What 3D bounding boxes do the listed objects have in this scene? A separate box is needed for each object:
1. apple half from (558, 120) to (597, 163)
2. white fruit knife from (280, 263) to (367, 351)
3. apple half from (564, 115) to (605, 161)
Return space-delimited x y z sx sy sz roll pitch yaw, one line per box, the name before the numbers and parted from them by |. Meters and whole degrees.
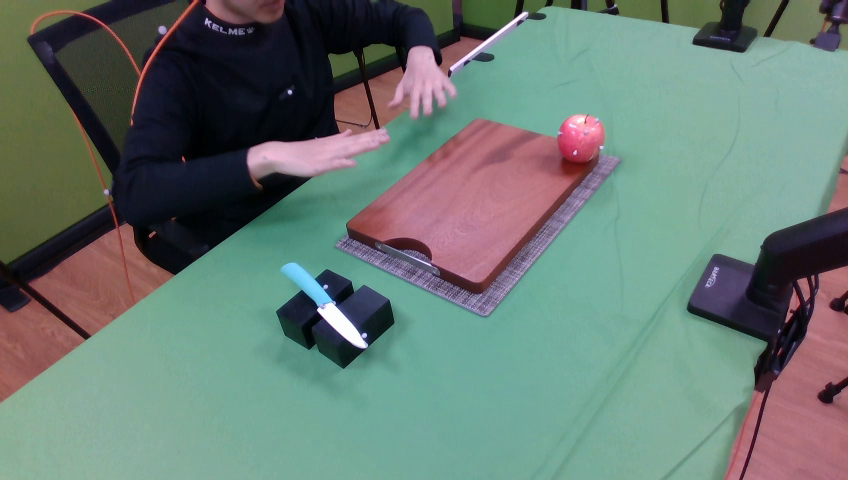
apple half | 0.255 -0.163 1.037 0.033 0.081 0.080 -33 46 -31
white fruit knife | -0.136 0.087 0.820 0.027 0.016 0.205 -47 53 -7
apple half | 0.284 -0.181 1.056 0.053 0.075 0.080 -32 44 -31
